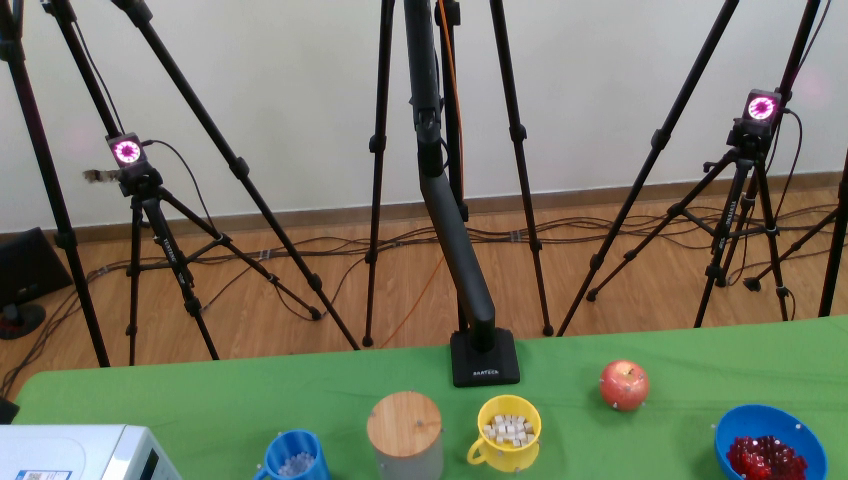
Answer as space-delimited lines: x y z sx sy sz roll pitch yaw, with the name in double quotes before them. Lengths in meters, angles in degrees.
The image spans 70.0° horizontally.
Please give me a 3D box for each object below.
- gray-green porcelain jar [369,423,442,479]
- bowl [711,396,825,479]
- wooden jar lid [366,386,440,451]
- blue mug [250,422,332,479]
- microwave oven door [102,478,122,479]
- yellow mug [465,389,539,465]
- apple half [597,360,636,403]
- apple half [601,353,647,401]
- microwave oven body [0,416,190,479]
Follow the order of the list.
"gray-green porcelain jar" -0.026 0.310 0.928 0.106 0.128 0.105 -3 42 3
"bowl" 0.501 0.318 0.904 0.151 0.077 0.150 -3 42 3
"wooden jar lid" -0.030 0.263 0.887 0.108 0.021 0.107 -3 40 3
"blue mug" -0.204 0.347 0.918 0.117 0.107 0.081 -21 44 -17
"microwave oven door" -0.364 0.480 0.655 0.039 0.246 0.352 -2 42 4
"yellow mug" 0.120 0.305 0.966 0.131 0.064 0.099 -26 46 -21
"apple half" 0.311 0.244 1.007 0.033 0.082 0.080 -24 45 -26
"apple half" 0.342 0.228 1.024 0.053 0.075 0.080 -23 41 -26
"microwave oven body" -0.508 0.460 0.699 0.326 0.262 0.437 -1 43 3
